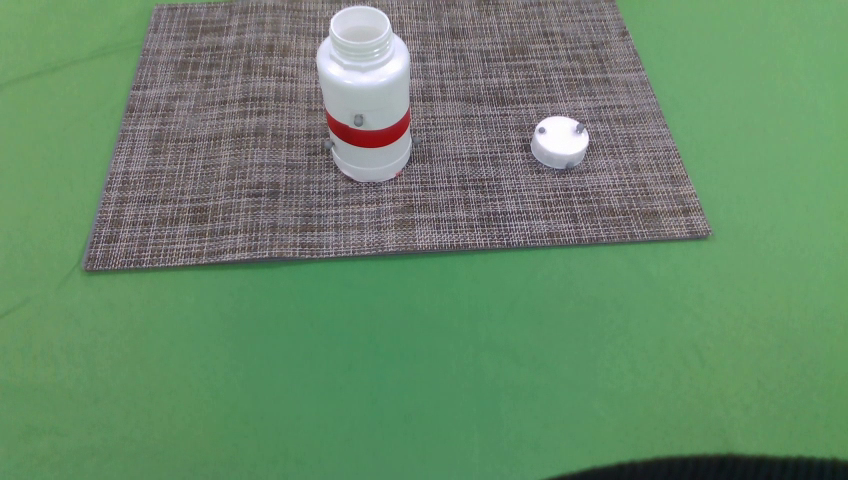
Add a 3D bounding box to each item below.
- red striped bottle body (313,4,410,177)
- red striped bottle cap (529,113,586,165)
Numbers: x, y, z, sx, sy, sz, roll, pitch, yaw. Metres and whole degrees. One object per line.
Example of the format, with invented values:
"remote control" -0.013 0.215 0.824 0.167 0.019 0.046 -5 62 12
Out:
"red striped bottle body" -0.043 -0.105 0.433 0.063 0.120 0.062 0 57 0
"red striped bottle cap" 0.107 -0.082 0.486 0.044 0.018 0.044 1 53 -1
